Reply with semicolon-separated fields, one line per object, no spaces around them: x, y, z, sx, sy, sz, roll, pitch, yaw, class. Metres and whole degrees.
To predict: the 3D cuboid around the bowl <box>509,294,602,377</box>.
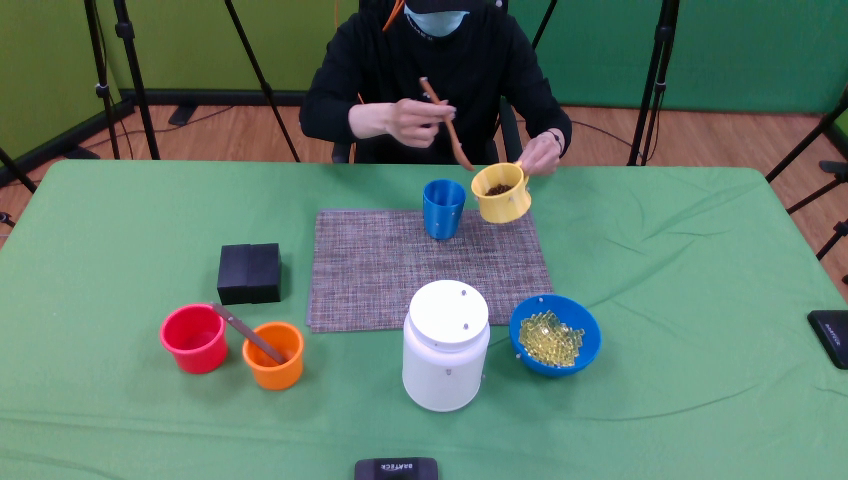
0.211;0.171;1.007;0.151;0.077;0.150;2;46;-2;bowl

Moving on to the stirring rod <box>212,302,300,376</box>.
-0.261;0.156;0.948;0.177;0.006;0.014;45;45;-20;stirring rod

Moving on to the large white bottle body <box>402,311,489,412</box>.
0.031;0.163;0.928;0.131;0.185;0.130;2;46;-2;large white bottle body

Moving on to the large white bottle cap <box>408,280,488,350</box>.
0.034;0.105;0.866;0.115;0.018;0.114;2;46;-1;large white bottle cap

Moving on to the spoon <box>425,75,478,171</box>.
0.048;-0.202;1.065;0.021;0.194;0.041;-29;23;-7;spoon

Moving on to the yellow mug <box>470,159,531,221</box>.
0.153;-0.102;1.125;0.130;0.064;0.099;-42;41;-21;yellow mug

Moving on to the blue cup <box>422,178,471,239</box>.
0.036;-0.056;1.192;0.093;0.101;0.092;3;45;-3;blue cup
